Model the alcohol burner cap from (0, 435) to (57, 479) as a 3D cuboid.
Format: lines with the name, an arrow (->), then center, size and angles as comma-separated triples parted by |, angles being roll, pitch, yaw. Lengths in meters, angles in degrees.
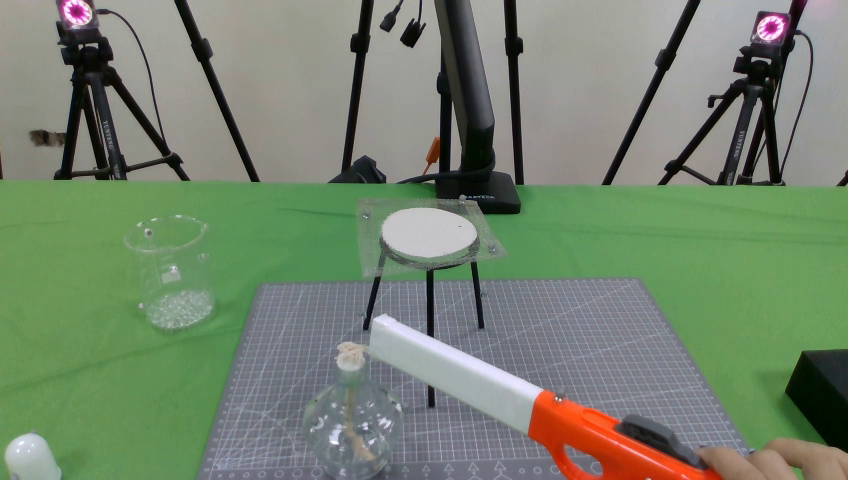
alcohol burner cap -> -0.298, 0.167, 0.452 | 0.034, 0.048, 0.033 | 3, 29, -2

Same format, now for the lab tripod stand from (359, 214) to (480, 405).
lab tripod stand -> 0.001, 0.056, 0.565 | 0.148, 0.132, 0.147 | 3, 32, -2

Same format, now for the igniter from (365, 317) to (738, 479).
igniter -> 0.074, 0.109, 0.356 | 0.274, 0.057, 0.025 | 20, 23, 31

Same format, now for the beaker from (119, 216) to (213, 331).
beaker -> -0.258, 0.035, 0.623 | 0.084, 0.101, 0.073 | -25, 40, -38

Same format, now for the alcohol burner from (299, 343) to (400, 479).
alcohol burner -> -0.057, 0.125, 0.462 | 0.078, 0.120, 0.077 | 3, 30, -1

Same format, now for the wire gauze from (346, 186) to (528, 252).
wire gauze -> 0.009, -0.019, 0.526 | 0.125, 0.011, 0.120 | -8, 27, -29
